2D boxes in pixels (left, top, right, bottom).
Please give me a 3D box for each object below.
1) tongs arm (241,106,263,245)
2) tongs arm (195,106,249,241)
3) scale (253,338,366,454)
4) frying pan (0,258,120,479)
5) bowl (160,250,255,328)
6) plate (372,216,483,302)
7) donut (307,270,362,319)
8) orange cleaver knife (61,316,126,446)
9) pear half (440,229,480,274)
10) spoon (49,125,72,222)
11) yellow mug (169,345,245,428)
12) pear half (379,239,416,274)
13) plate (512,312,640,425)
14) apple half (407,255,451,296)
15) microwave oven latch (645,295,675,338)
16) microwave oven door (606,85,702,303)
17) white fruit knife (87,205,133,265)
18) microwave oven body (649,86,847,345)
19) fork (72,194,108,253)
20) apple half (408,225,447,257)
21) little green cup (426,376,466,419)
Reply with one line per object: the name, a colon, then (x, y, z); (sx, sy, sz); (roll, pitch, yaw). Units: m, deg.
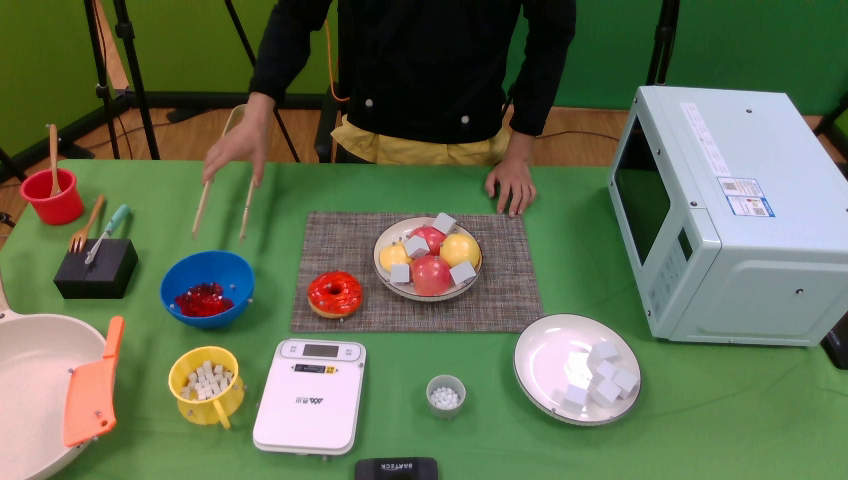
tongs arm: (-0.359, -0.144, 1.226); (0.051, 0.026, 0.382); (5, 48, -8)
tongs arm: (-0.404, -0.148, 1.217); (0.028, 0.028, 0.385); (5, 48, -4)
scale: (-0.175, 0.236, 0.951); (0.149, 0.032, 0.199); (4, 45, 0)
frying pan: (-0.647, 0.164, 0.936); (0.307, 0.103, 0.485); (-19, 58, -22)
bowl: (-0.362, 0.098, 1.040); (0.151, 0.077, 0.150); (2, 45, -2)
plate: (0.006, 0.038, 1.145); (0.209, 0.038, 0.208); (2, 46, -2)
donut: (-0.158, 0.097, 1.073); (0.099, 0.048, 0.098); (4, 45, -4)
orange cleaver knife: (-0.480, 0.199, 0.888); (0.077, 0.012, 0.210); (-8, 46, -9)
pear half: (0.065, 0.007, 1.150); (0.076, 0.056, 0.109); (-10, 43, -2)
spoon: (-0.718, -0.131, 1.189); (0.041, 0.021, 0.193); (-4, 90, -6)
yellow mug: (-0.322, 0.230, 0.922); (0.100, 0.064, 0.130); (-24, 53, -25)
pear half: (-0.048, 0.024, 1.147); (0.070, 0.031, 0.087); (12, 48, -11)
plate: (0.246, 0.213, 0.999); (0.208, 0.039, 0.206); (2, 46, -2)
apple half: (0.011, 0.058, 1.103); (0.075, 0.053, 0.080); (-6, 43, -13)
microwave oven latch: (0.411, 0.134, 1.061); (0.030, 0.029, 0.078); (3, 45, 0)
microwave oven door: (0.422, -0.094, 1.140); (0.039, 0.245, 0.353); (2, 46, -1)
white fruit knife: (-0.584, -0.013, 1.129); (0.016, 0.027, 0.206); (-1, 32, -4)
microwave oven body: (0.567, -0.053, 1.118); (0.326, 0.261, 0.439); (2, 45, -1)
fork: (-0.634, -0.036, 1.158); (0.028, 0.019, 0.206); (-8, 32, -8)
apple half: (0.010, -0.006, 1.176); (0.081, 0.033, 0.081); (1, 52, -1)
little green cup: (0.033, 0.248, 0.950); (0.061, 0.039, 0.061); (2, 46, -2)
